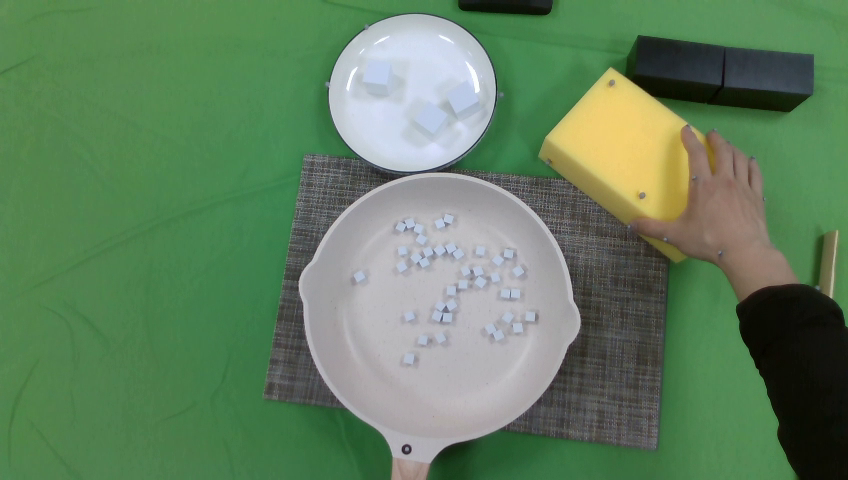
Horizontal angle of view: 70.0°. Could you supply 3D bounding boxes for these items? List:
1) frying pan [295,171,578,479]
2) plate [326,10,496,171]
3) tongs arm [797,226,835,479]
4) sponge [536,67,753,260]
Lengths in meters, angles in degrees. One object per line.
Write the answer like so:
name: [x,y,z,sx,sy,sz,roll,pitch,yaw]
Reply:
frying pan: [-0.006,0.167,0.646,0.306,0.103,0.485,9,72,6]
plate: [-0.016,-0.181,0.750,0.207,0.039,0.206,-1,79,3]
tongs arm: [0.434,0.173,0.665,0.028,0.028,0.386,9,81,3]
sponge: [0.250,-0.089,0.703,0.206,0.061,0.118,40,81,10]
